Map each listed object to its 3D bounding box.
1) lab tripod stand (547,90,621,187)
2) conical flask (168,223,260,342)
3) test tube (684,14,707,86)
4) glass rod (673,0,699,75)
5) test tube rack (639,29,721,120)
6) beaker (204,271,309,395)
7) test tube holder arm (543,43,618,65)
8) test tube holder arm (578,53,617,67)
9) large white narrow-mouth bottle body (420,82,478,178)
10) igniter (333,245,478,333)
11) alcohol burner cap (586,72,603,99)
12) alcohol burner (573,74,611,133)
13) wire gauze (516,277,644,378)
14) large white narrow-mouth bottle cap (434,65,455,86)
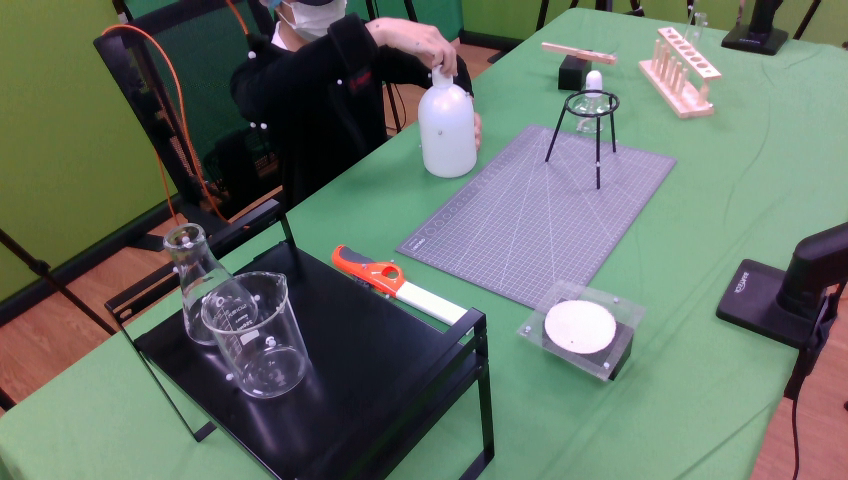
[{"bbox_3d":[0.289,-0.184,1.062,0.148,0.132,0.147,-6,41,6],"label":"lab tripod stand"},{"bbox_3d":[-0.219,0.040,0.614,0.075,0.122,0.075,-5,40,4],"label":"conical flask"},{"bbox_3d":[0.541,-0.379,1.216,0.017,0.151,0.017,-2,44,2],"label":"test tube"},{"bbox_3d":[0.541,-0.427,1.246,0.008,0.200,0.008,0,48,1],"label":"glass rod"},{"bbox_3d":[0.527,-0.351,1.262,0.067,0.085,0.241,-8,40,1],"label":"test tube rack"},{"bbox_3d":[-0.149,0.088,0.565,0.073,0.101,0.084,21,47,29],"label":"beaker"},{"bbox_3d":[0.344,-0.413,1.340,0.177,0.015,0.013,25,51,31],"label":"test tube holder arm"},{"bbox_3d":[0.376,-0.393,1.314,0.087,0.015,0.010,26,51,32],"label":"test tube holder arm"},{"bbox_3d":[0.043,-0.217,1.098,0.102,0.195,0.101,-4,40,4],"label":"large white narrow-mouth bottle body"},{"bbox_3d":[-0.038,0.068,0.905,0.274,0.025,0.057,24,60,32],"label":"igniter"},{"bbox_3d":[0.325,-0.297,1.154,0.034,0.048,0.033,-8,35,6],"label":"alcohol burner cap"},{"bbox_3d":[0.330,-0.270,1.177,0.078,0.119,0.077,-4,43,4],"label":"alcohol burner"},{"bbox_3d":[0.197,0.103,0.765,0.124,0.011,0.122,23,50,32],"label":"wire gauze"},{"bbox_3d":[0.035,-0.284,1.042,0.038,0.024,0.037,-4,40,4],"label":"large white narrow-mouth bottle cap"}]
